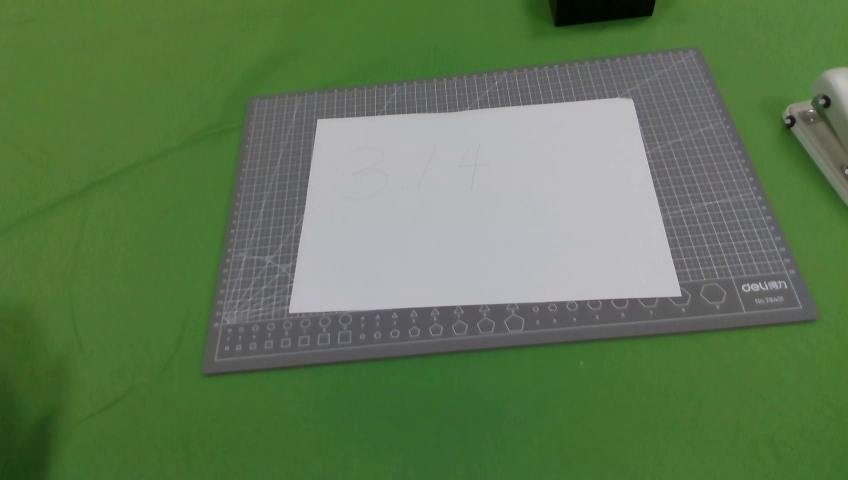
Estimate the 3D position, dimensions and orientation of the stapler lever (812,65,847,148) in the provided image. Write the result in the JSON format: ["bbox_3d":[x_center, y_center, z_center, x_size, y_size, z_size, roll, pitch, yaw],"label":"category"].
[{"bbox_3d":[0.344,-0.087,0.473,0.027,0.040,0.117,-14,58,2],"label":"stapler lever"}]

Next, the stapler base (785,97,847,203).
[{"bbox_3d":[0.346,-0.075,0.495,0.041,0.024,0.129,-14,58,2],"label":"stapler base"}]
